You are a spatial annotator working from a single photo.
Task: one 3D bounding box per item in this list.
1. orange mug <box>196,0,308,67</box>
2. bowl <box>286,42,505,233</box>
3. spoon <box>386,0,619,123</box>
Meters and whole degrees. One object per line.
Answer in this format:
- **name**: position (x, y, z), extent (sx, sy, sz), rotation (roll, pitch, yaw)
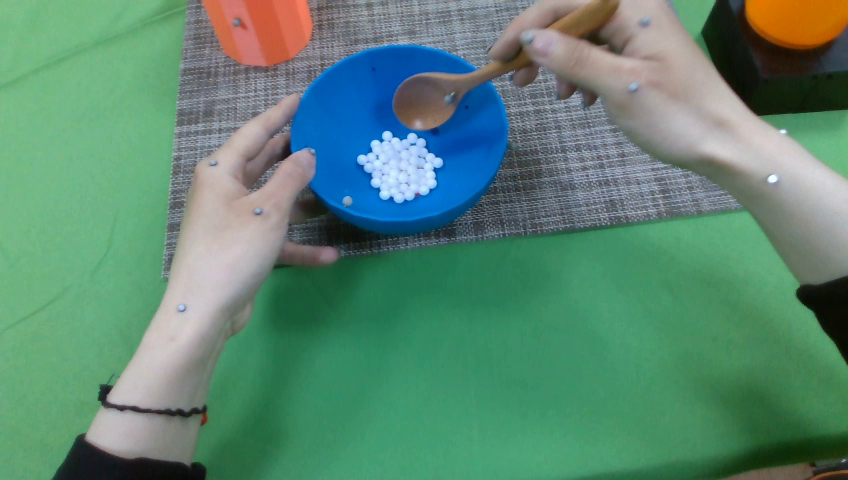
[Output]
- **orange mug**: position (-0.150, -0.230, 0.522), extent (0.083, 0.101, 0.125), rotation (4, 68, 4)
- **bowl**: position (-0.018, -0.062, 0.446), extent (0.151, 0.077, 0.150), rotation (0, 64, 1)
- **spoon**: position (0.039, -0.108, 0.371), extent (0.042, 0.193, 0.021), rotation (31, 67, -30)
